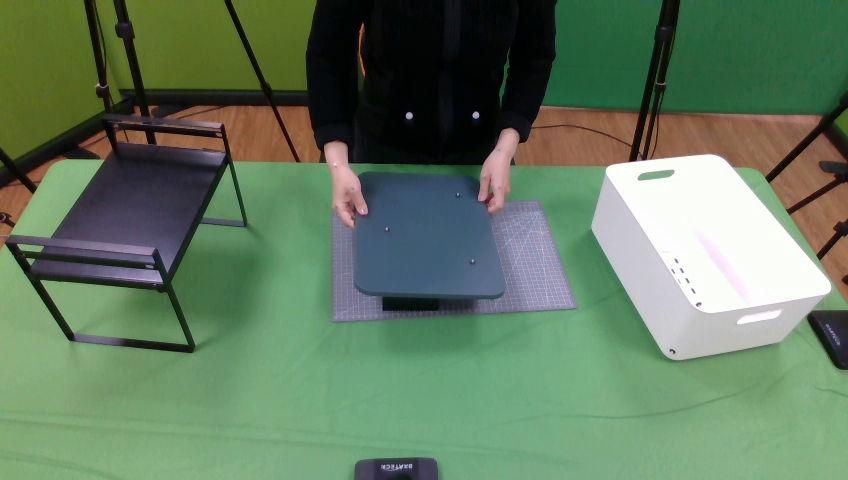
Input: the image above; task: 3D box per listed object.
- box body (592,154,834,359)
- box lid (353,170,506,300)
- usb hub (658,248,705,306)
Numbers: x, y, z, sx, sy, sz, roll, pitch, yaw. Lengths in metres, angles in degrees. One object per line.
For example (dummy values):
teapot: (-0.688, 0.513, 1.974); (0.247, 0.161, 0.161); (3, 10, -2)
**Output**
box body: (0.496, 0.023, 1.112); (0.254, 0.161, 0.361); (-8, 47, -10)
box lid: (0.001, -0.024, 1.140); (0.264, 0.015, 0.369); (2, 39, -7)
usb hub: (0.482, 0.070, 1.150); (0.049, 0.025, 0.124); (-3, 47, -7)
